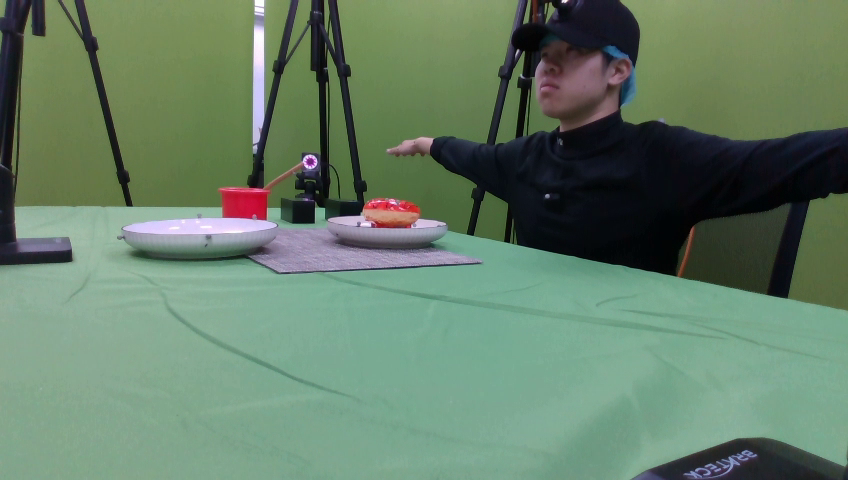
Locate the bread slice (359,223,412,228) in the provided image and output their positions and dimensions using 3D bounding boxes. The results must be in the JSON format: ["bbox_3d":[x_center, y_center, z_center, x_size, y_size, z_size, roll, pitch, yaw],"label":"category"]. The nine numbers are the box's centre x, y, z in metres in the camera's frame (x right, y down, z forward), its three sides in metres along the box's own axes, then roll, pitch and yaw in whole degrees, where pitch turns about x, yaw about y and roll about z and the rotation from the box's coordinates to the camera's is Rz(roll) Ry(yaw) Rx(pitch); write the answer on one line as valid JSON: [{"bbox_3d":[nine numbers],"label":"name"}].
[{"bbox_3d":[-0.061,-0.013,1.034,0.105,0.019,0.131,0,9,-19],"label":"bread slice"}]

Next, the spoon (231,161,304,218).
[{"bbox_3d":[-0.314,-0.096,1.192,0.194,0.022,0.041,-42,13,-5],"label":"spoon"}]

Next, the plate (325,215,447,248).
[{"bbox_3d":[-0.065,-0.015,1.035,0.209,0.038,0.209,3,8,0],"label":"plate"}]

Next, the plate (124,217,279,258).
[{"bbox_3d":[-0.315,-0.004,0.870,0.208,0.039,0.207,1,8,0],"label":"plate"}]

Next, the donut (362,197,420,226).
[{"bbox_3d":[-0.056,-0.048,1.024,0.099,0.048,0.099,4,8,0],"label":"donut"}]
